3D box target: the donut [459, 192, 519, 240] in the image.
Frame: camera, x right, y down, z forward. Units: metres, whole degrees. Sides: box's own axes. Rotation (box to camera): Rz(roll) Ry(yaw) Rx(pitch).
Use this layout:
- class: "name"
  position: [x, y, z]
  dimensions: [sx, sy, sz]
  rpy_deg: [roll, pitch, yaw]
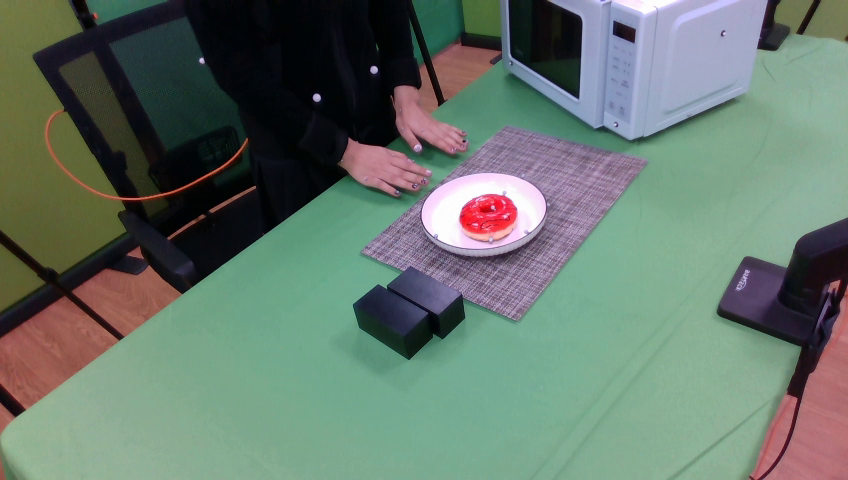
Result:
- class: "donut"
  position: [0.105, -0.040, 0.976]
  dimensions: [0.099, 0.048, 0.098]
  rpy_deg: [-7, 40, 7]

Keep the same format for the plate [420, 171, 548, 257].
- class: "plate"
  position: [0.098, -0.040, 0.994]
  dimensions: [0.209, 0.038, 0.208]
  rpy_deg: [-5, 40, 5]

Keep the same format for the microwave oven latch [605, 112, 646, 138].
- class: "microwave oven latch"
  position: [0.375, -0.217, 1.130]
  dimensions: [0.030, 0.029, 0.078]
  rpy_deg: [-24, 42, -16]

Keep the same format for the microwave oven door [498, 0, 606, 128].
- class: "microwave oven door"
  position: [0.253, -0.406, 1.216]
  dimensions: [0.039, 0.245, 0.352]
  rpy_deg: [-22, 42, -14]

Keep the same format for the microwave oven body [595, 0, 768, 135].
- class: "microwave oven body"
  position: [0.411, -0.441, 1.235]
  dimensions: [0.327, 0.261, 0.437]
  rpy_deg: [-25, 42, -16]
